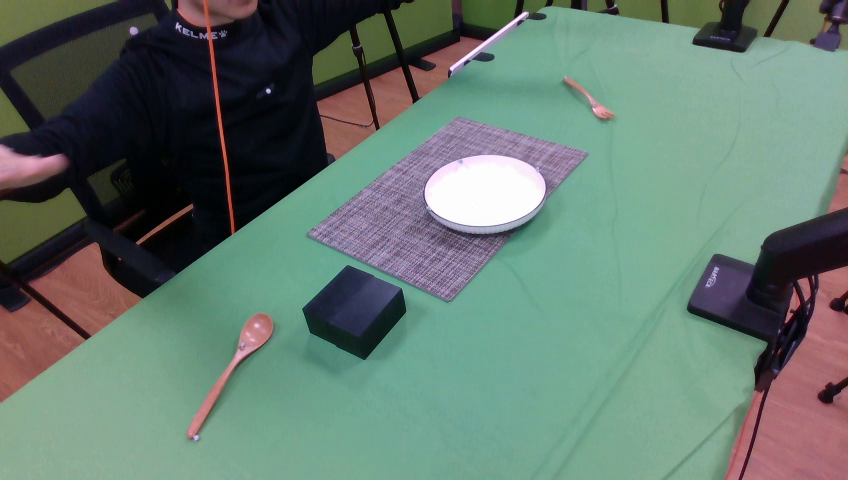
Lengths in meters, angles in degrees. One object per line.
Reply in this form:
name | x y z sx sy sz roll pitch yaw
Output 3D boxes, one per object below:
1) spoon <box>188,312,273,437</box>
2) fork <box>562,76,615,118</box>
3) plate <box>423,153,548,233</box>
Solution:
spoon | -0.258 0.173 0.803 0.041 0.021 0.193 20 45 6
fork | 0.341 -0.303 1.272 0.028 0.019 0.205 -23 44 -2
plate | 0.104 -0.076 1.024 0.209 0.038 0.208 -4 40 4
